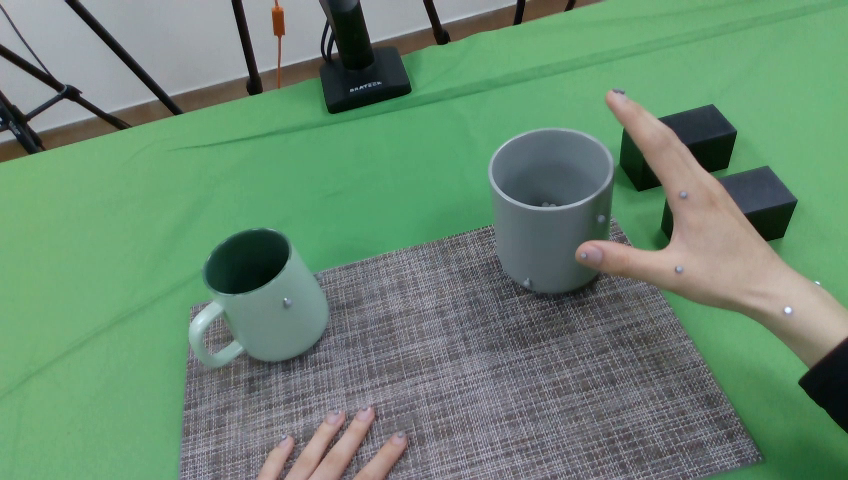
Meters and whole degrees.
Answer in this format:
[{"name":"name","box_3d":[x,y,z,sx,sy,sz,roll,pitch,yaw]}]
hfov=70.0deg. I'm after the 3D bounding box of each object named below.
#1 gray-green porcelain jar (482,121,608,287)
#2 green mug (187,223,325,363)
[{"name":"gray-green porcelain jar","box_3d":[0.112,-0.027,0.554,0.106,0.128,0.105,-7,48,8]},{"name":"green mug","box_3d":[-0.157,0.059,0.552,0.092,0.106,0.125,27,60,30]}]
